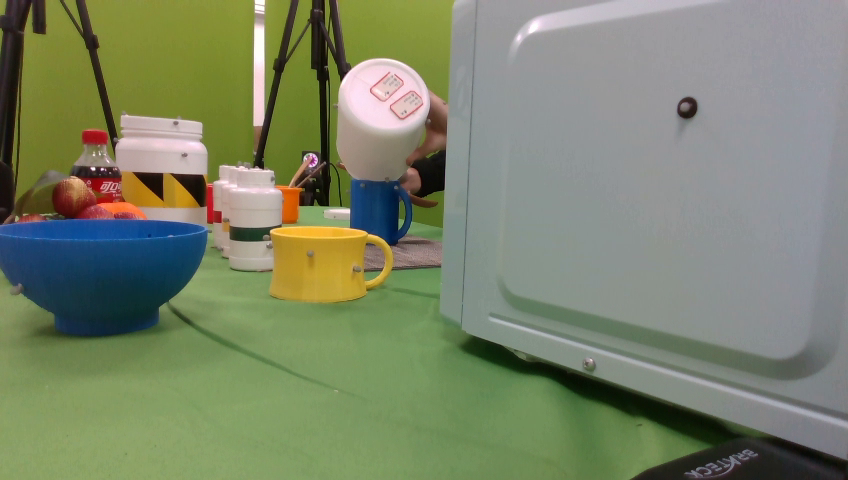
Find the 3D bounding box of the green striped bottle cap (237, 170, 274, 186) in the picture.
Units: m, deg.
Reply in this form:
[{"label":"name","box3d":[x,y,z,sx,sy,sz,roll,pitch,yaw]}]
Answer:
[{"label":"green striped bottle cap","box3d":[-0.205,-0.075,0.737,0.044,0.020,0.044,1,6,0]}]

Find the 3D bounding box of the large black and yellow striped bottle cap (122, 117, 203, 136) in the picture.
[{"label":"large black and yellow striped bottle cap","box3d":[-0.399,-0.174,0.927,0.115,0.019,0.115,5,9,-1]}]

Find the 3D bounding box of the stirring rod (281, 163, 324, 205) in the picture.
[{"label":"stirring rod","box3d":[-0.278,-0.105,1.293,0.176,0.006,0.014,-47,25,-18]}]

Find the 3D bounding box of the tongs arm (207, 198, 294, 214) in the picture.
[{"label":"tongs arm","box3d":[-0.423,-0.084,1.472,0.050,0.026,0.386,2,6,22]}]

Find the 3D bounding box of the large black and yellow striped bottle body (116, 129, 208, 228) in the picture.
[{"label":"large black and yellow striped bottle body","box3d":[-0.404,-0.089,0.937,0.131,0.184,0.130,3,7,0]}]

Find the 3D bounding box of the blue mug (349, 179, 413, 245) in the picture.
[{"label":"blue mug","box3d":[-0.068,-0.048,1.001,0.116,0.106,0.083,5,9,29]}]

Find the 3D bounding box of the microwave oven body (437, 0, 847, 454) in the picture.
[{"label":"microwave oven body","box3d":[0.279,-0.040,0.464,0.444,0.260,0.324,-3,9,-41]}]

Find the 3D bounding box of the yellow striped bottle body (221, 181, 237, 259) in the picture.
[{"label":"yellow striped bottle body","box3d":[-0.244,-0.035,0.823,0.063,0.120,0.063,2,8,0]}]

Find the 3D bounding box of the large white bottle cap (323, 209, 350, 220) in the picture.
[{"label":"large white bottle cap","box3d":[-0.184,-0.062,1.449,0.115,0.018,0.115,2,8,0]}]

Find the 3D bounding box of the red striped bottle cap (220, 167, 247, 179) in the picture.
[{"label":"red striped bottle cap","box3d":[-0.281,-0.099,0.901,0.044,0.017,0.044,-1,5,0]}]

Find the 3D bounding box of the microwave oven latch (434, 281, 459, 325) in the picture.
[{"label":"microwave oven latch","box3d":[0.044,0.045,0.470,0.079,0.029,0.030,-2,8,-39]}]

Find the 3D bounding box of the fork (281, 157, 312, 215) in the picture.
[{"label":"fork","box3d":[-0.289,-0.116,1.321,0.028,0.019,0.207,6,51,19]}]

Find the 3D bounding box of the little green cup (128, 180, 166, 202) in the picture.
[{"label":"little green cup","box3d":[-0.485,-0.087,1.062,0.061,0.038,0.061,-1,6,0]}]

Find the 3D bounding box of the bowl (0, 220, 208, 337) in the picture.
[{"label":"bowl","box3d":[-0.251,0.029,0.479,0.151,0.077,0.151,2,7,0]}]

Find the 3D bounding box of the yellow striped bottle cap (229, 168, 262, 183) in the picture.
[{"label":"yellow striped bottle cap","box3d":[-0.240,-0.087,0.816,0.044,0.018,0.044,-2,5,1]}]

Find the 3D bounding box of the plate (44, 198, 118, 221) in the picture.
[{"label":"plate","box3d":[-0.617,-0.056,1.179,0.209,0.038,0.209,3,7,0]}]

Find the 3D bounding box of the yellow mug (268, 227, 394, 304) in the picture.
[{"label":"yellow mug","box3d":[-0.094,0.023,0.629,0.131,0.064,0.099,0,8,-22]}]

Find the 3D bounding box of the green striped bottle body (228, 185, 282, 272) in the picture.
[{"label":"green striped bottle body","box3d":[-0.208,-0.023,0.745,0.063,0.119,0.063,2,7,0]}]

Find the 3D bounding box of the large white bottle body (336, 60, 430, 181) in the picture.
[{"label":"large white bottle body","box3d":[-0.069,-0.170,0.929,0.131,0.130,0.184,1,-20,-10]}]

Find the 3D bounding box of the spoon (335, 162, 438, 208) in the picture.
[{"label":"spoon","box3d":[-0.065,-0.097,1.064,0.194,0.021,0.041,25,-9,-9]}]

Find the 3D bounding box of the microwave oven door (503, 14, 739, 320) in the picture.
[{"label":"microwave oven door","box3d":[0.217,-0.065,0.601,0.358,0.243,0.039,-4,10,-41]}]

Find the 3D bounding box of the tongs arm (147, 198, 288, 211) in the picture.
[{"label":"tongs arm","box3d":[-0.503,-0.091,1.513,0.028,0.028,0.389,-1,4,38]}]

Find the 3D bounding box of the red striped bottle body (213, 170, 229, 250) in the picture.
[{"label":"red striped bottle body","box3d":[-0.283,-0.047,0.909,0.063,0.119,0.063,3,14,0]}]
